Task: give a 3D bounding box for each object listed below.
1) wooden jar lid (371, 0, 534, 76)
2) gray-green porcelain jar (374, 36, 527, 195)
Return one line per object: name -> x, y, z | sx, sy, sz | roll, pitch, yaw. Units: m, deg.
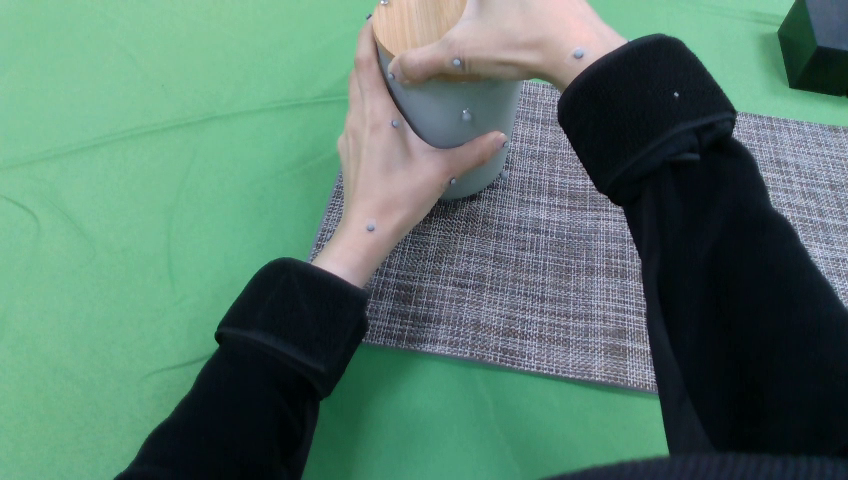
wooden jar lid -> 0.018, -0.144, 0.407 | 0.108, 0.021, 0.107 | 1, 55, -1
gray-green porcelain jar -> 0.016, -0.105, 0.456 | 0.106, 0.127, 0.105 | 2, 53, -2
